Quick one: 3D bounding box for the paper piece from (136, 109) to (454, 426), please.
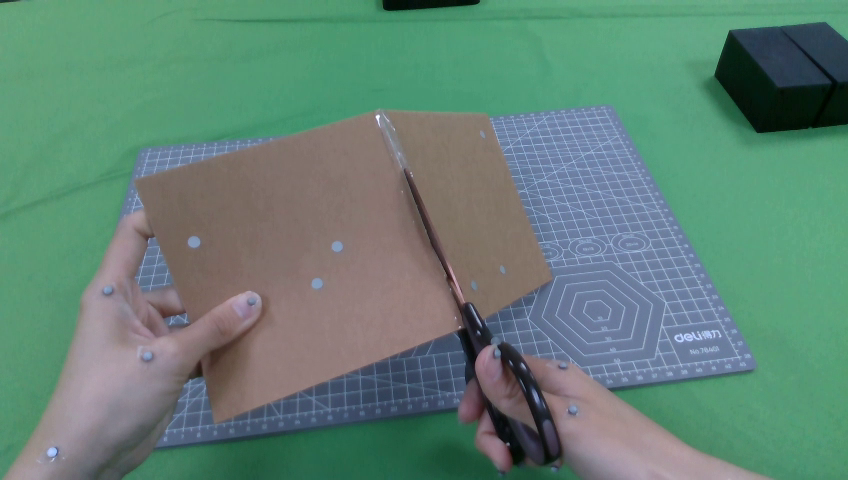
[{"bbox_3d":[-0.063,0.010,0.326,0.136,0.004,0.135,-19,90,-15],"label":"paper piece"}]

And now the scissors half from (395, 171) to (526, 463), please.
[{"bbox_3d":[0.017,0.042,0.340,0.013,0.040,0.175,-22,91,-16],"label":"scissors half"}]

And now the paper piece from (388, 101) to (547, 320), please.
[{"bbox_3d":[0.034,-0.024,0.396,0.008,0.136,0.138,-17,0,32],"label":"paper piece"}]

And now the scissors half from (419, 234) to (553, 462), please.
[{"bbox_3d":[0.018,0.033,0.318,0.013,0.040,0.173,-23,56,-11],"label":"scissors half"}]
